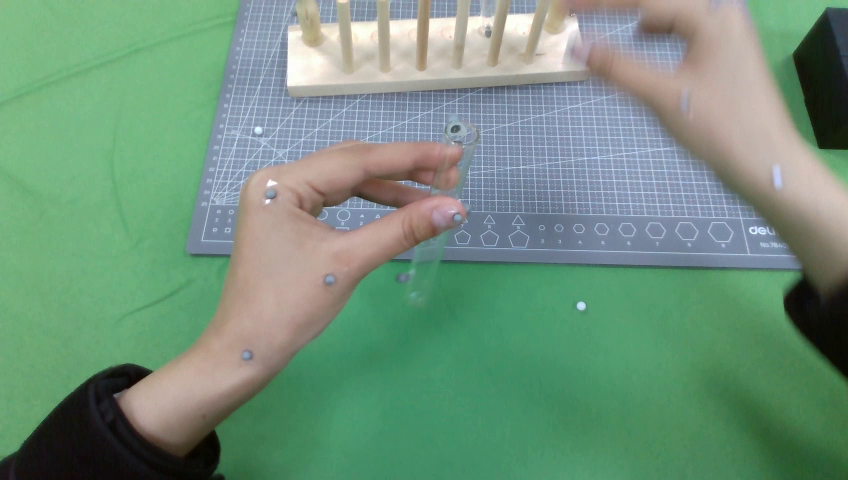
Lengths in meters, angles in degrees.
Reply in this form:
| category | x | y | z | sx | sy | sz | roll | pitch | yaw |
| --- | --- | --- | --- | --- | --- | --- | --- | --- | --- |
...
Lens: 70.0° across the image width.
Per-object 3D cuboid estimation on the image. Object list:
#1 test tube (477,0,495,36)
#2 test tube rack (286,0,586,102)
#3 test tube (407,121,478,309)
| category | x | y | z | sx | sy | sz | roll | pitch | yaw |
| --- | --- | --- | --- | --- | --- | --- | --- | --- | --- |
| test tube | 0.048 | -0.211 | 0.439 | 0.017 | 0.151 | 0.017 | -1 | 59 | 2 |
| test tube rack | 0.009 | -0.168 | 0.473 | 0.242 | 0.086 | 0.066 | -4 | 63 | -3 |
| test tube | 0.006 | -0.004 | 0.313 | 0.017 | 0.151 | 0.017 | 4 | 55 | -6 |
